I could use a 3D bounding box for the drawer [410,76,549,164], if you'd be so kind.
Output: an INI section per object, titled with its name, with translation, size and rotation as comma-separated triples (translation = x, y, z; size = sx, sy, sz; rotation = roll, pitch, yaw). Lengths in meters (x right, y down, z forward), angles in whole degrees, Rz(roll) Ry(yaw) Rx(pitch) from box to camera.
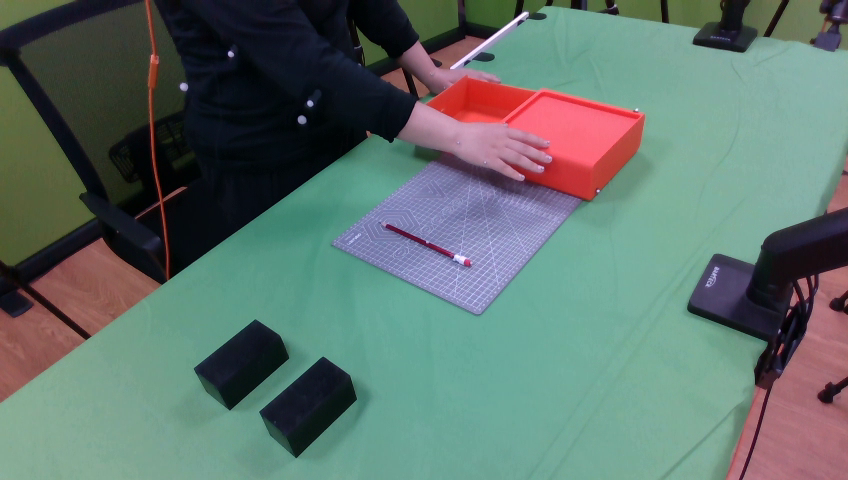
[drawer]
translation = 0.114, -0.238, 1.190
size = 0.210, 0.073, 0.195
rotation = 22, 48, 33

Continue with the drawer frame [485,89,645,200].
[drawer frame]
translation = 0.253, -0.180, 1.094
size = 0.212, 0.083, 0.202
rotation = 24, 48, 31

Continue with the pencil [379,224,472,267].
[pencil]
translation = -0.002, 0.005, 0.970
size = 0.192, 0.012, 0.012
rotation = 24, 49, 33
